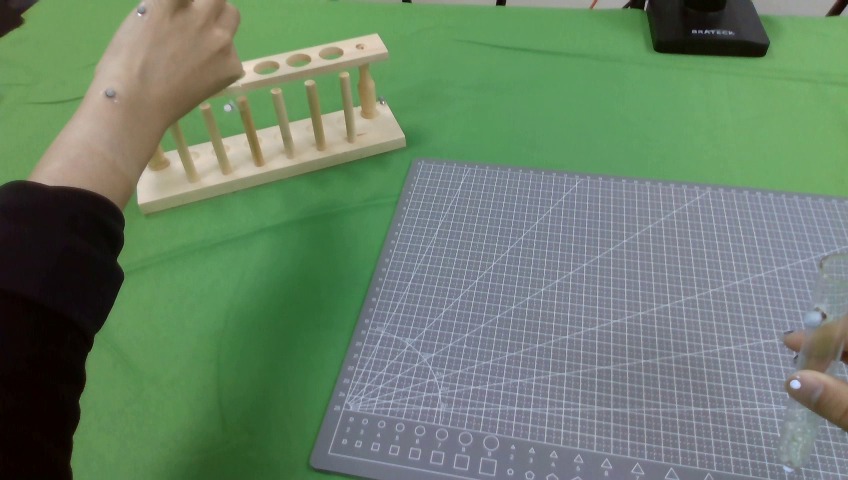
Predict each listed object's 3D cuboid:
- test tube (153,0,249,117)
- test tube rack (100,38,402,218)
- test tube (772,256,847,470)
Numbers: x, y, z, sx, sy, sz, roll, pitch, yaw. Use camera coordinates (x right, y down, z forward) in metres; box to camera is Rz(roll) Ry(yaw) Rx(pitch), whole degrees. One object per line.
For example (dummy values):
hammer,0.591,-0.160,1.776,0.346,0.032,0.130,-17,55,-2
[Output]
test tube,-0.174,-0.152,0.451,0.017,0.152,0.017,-10,51,13
test tube rack,-0.147,-0.103,0.546,0.243,0.086,0.066,-17,48,-12
test tube,0.174,0.064,0.274,0.017,0.152,0.017,-11,41,10
